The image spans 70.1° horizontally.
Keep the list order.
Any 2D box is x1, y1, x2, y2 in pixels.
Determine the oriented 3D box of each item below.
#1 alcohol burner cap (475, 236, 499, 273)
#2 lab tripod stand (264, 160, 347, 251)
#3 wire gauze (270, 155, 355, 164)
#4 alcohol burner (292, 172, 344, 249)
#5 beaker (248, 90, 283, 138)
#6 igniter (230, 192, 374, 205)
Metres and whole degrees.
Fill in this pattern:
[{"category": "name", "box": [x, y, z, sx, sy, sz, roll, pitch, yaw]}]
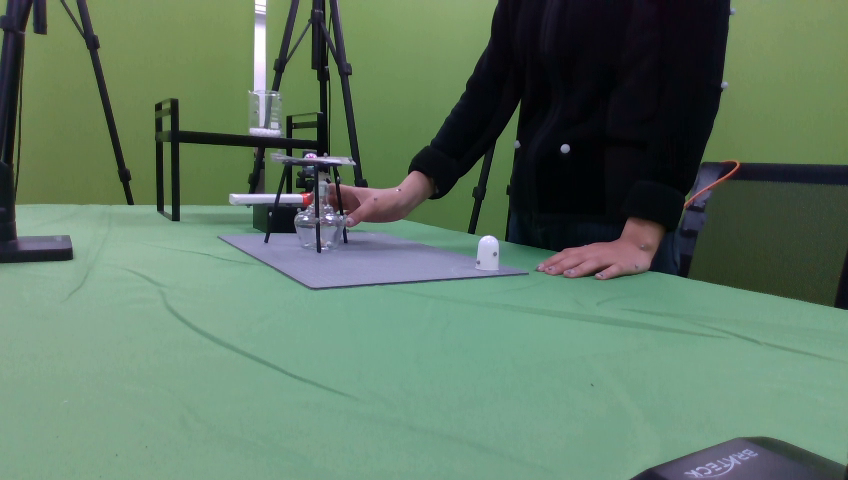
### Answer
[{"category": "alcohol burner cap", "box": [0.084, 0.019, 0.799, 0.034, 0.048, 0.034, 2, 6, 0]}, {"category": "lab tripod stand", "box": [-0.177, -0.057, 0.929, 0.148, 0.131, 0.148, 1, 9, 0]}, {"category": "wire gauze", "box": [-0.173, -0.123, 0.925, 0.125, 0.011, 0.121, 0, 8, -12]}, {"category": "alcohol burner", "box": [-0.160, -0.045, 0.922, 0.078, 0.119, 0.078, 4, 6, 0]}, {"category": "beaker", "box": [-0.354, -0.278, 1.340, 0.074, 0.100, 0.084, 6, 9, 26]}, {"category": "igniter", "box": [-0.228, -0.079, 1.164, 0.278, 0.025, 0.057, -2, 15, -30]}]
